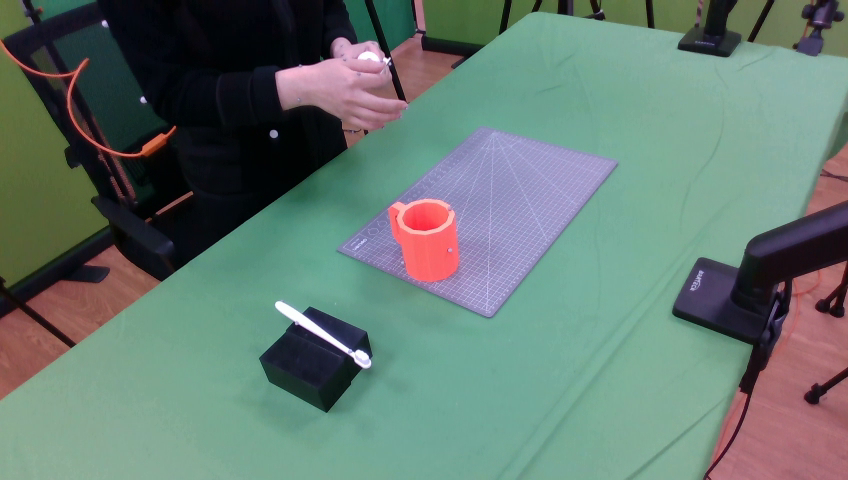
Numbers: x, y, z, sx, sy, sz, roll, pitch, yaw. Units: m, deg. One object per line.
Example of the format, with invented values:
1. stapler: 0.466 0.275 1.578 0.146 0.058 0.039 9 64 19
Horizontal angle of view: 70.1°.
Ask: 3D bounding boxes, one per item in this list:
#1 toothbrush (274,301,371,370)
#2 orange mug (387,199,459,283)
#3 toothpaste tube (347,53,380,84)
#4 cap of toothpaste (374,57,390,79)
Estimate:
1. toothbrush: -0.135 0.119 0.783 0.180 0.017 0.014 25 53 33
2. orange mug: -0.006 -0.007 0.923 0.125 0.101 0.084 32 54 32
3. toothpaste tube: -0.091 -0.268 0.968 0.055 0.034 0.164 7 3 -11
4. cap of toothpaste: -0.062 -0.253 0.883 0.011 0.037 0.037 30 41 -12
